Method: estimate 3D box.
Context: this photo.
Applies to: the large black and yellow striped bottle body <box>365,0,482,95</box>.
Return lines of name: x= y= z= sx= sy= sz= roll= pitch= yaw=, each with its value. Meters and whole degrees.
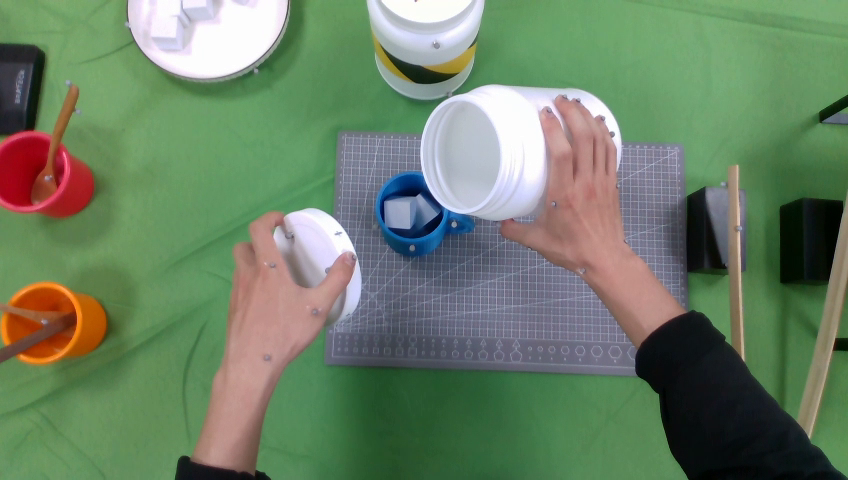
large black and yellow striped bottle body: x=-0.001 y=-0.265 z=0.714 sx=0.131 sy=0.184 sz=0.130 roll=0 pitch=81 yaw=-1

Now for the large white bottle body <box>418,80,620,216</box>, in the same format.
large white bottle body: x=0.096 y=-0.093 z=0.614 sx=0.185 sy=0.130 sz=0.130 roll=-11 pitch=79 yaw=-42

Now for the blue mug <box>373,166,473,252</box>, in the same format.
blue mug: x=0.001 y=-0.031 z=0.717 sx=0.116 sy=0.106 sz=0.082 roll=9 pitch=81 yaw=0

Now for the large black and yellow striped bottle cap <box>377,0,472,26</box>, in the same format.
large black and yellow striped bottle cap: x=0.000 y=-0.281 z=0.632 sx=0.115 sy=0.019 sz=0.114 roll=0 pitch=83 yaw=-2

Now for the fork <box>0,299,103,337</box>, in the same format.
fork: x=-0.465 y=0.071 z=0.671 sx=0.209 sy=0.018 sz=0.028 roll=28 pitch=77 yaw=-41

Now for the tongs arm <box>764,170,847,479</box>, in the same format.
tongs arm: x=0.463 y=0.103 z=0.713 sx=0.028 sy=0.027 sz=0.387 roll=11 pitch=93 yaw=-8

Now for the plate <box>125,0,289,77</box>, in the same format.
plate: x=-0.277 y=-0.307 z=0.788 sx=0.208 sy=0.039 sz=0.207 roll=0 pitch=82 yaw=-1

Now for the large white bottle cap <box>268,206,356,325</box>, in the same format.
large white bottle cap: x=-0.109 y=0.025 z=0.579 sx=0.018 sy=0.115 sz=0.114 roll=-16 pitch=79 yaw=-47

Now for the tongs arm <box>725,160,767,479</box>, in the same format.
tongs arm: x=0.381 y=0.099 z=0.709 sx=0.051 sy=0.026 sz=0.385 roll=-2 pitch=93 yaw=-4

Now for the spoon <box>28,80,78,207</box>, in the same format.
spoon: x=-0.429 y=-0.108 z=0.702 sx=0.041 sy=0.021 sz=0.194 roll=48 pitch=127 yaw=9

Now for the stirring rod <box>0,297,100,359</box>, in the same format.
stirring rod: x=-0.443 y=0.110 z=0.672 sx=0.014 sy=0.006 sz=0.176 roll=49 pitch=41 yaw=3
